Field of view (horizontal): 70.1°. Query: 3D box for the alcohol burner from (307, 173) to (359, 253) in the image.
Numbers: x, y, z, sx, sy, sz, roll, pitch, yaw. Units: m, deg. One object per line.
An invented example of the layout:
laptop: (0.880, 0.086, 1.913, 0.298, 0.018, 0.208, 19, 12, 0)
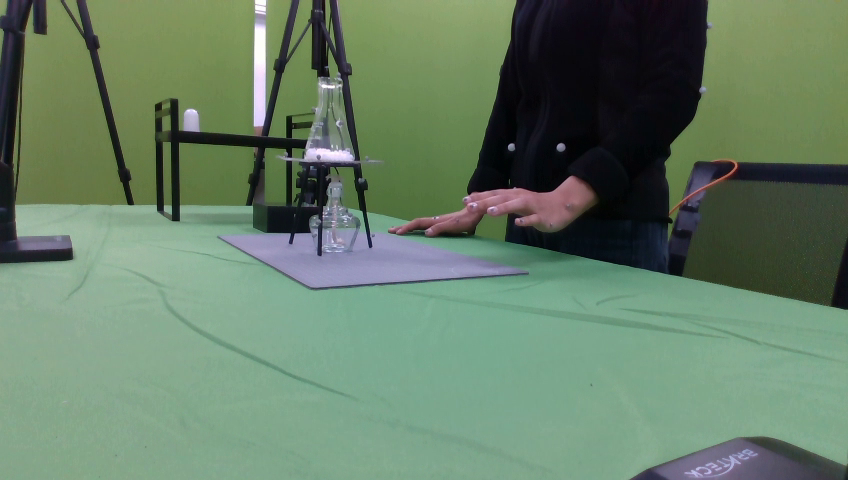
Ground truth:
alcohol burner: (-0.135, -0.041, 0.901, 0.078, 0.119, 0.078, 2, 6, 0)

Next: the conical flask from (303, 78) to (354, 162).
conical flask: (-0.140, -0.175, 0.892, 0.075, 0.122, 0.075, 2, 7, 0)

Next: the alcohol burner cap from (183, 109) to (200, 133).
alcohol burner cap: (-0.472, -0.241, 1.229, 0.034, 0.048, 0.034, 3, 8, 0)

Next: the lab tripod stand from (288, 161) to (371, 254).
lab tripod stand: (-0.148, -0.052, 0.908, 0.148, 0.131, 0.148, 1, 8, 0)

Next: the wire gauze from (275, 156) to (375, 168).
wire gauze: (-0.142, -0.116, 0.899, 0.122, 0.011, 0.124, -1, 5, -36)
